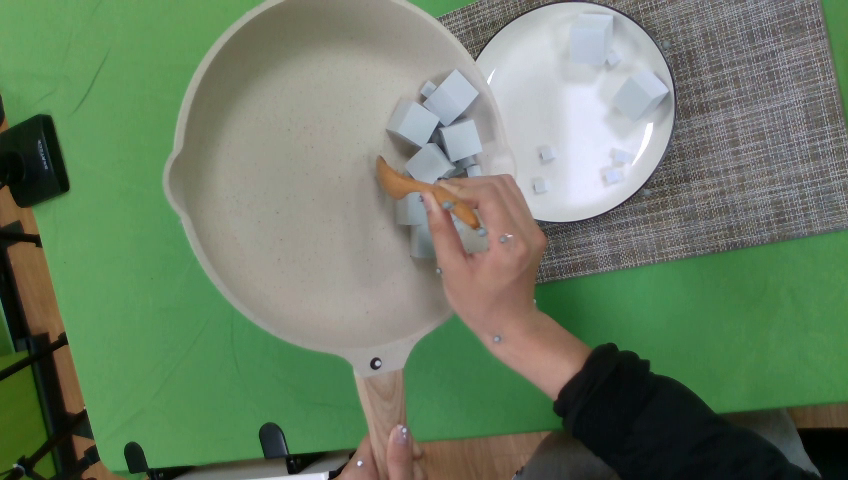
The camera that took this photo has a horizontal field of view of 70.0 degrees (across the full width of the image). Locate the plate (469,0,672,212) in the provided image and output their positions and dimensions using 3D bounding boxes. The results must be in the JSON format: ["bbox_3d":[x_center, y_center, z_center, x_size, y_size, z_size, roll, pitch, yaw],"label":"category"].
[{"bbox_3d":[0.131,-0.132,0.591,0.206,0.039,0.208,4,100,23],"label":"plate"}]

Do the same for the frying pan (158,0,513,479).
[{"bbox_3d":[-0.050,0.044,0.510,0.102,0.308,0.487,-7,90,59],"label":"frying pan"}]

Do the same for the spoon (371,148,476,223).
[{"bbox_3d":[-0.005,-0.043,0.462,0.021,0.192,0.042,-29,114,-16],"label":"spoon"}]
